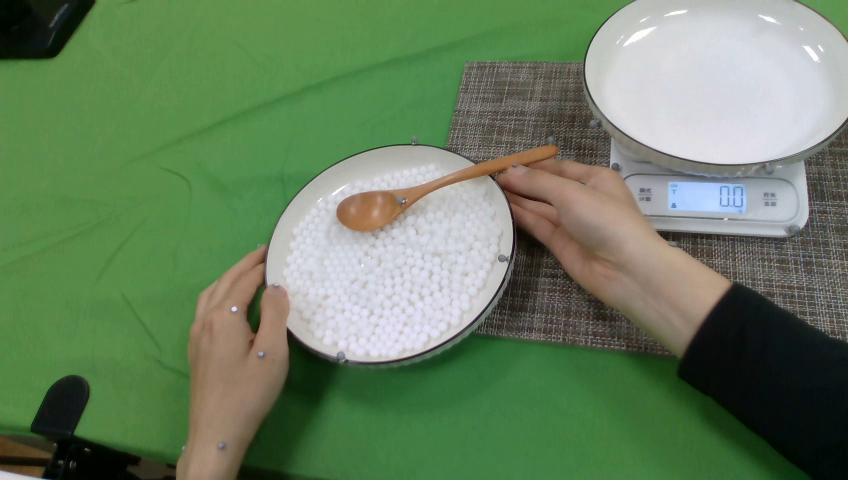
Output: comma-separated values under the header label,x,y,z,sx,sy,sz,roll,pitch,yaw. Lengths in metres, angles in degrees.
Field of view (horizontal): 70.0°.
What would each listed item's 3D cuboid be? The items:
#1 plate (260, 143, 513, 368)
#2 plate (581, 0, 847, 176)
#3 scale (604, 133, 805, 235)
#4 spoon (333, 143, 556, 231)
label,x,y,z,sx,sy,sz,roll,pitch,yaw
plate,-0.030,0.010,0.500,0.209,0.038,0.207,-5,58,8
plate,0.235,-0.132,0.499,0.207,0.039,0.205,-5,58,8
scale,0.234,-0.097,0.517,0.148,0.032,0.199,4,60,14
spoon,0.016,-0.048,0.507,0.193,0.022,0.041,-18,57,9
